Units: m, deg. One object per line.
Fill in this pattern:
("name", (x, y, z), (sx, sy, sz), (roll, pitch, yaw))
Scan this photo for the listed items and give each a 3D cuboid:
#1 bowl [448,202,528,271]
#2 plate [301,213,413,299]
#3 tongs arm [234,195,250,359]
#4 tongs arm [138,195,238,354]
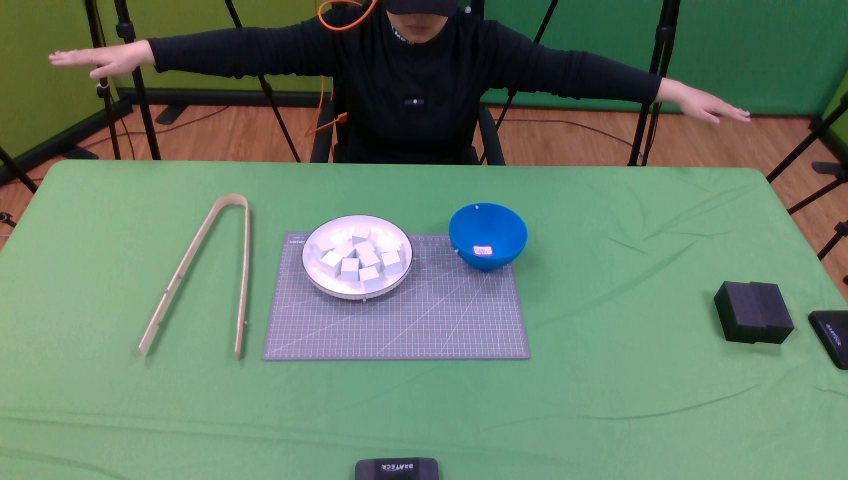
("bowl", (0.118, 0.006, 1.160), (0.151, 0.077, 0.150), (2, 46, -2))
("plate", (-0.124, 0.033, 1.143), (0.208, 0.039, 0.206), (2, 46, -2))
("tongs arm", (-0.339, 0.053, 1.118), (0.028, 0.028, 0.385), (-6, 47, -7))
("tongs arm", (-0.421, 0.047, 1.111), (0.051, 0.026, 0.382), (6, 45, 0))
